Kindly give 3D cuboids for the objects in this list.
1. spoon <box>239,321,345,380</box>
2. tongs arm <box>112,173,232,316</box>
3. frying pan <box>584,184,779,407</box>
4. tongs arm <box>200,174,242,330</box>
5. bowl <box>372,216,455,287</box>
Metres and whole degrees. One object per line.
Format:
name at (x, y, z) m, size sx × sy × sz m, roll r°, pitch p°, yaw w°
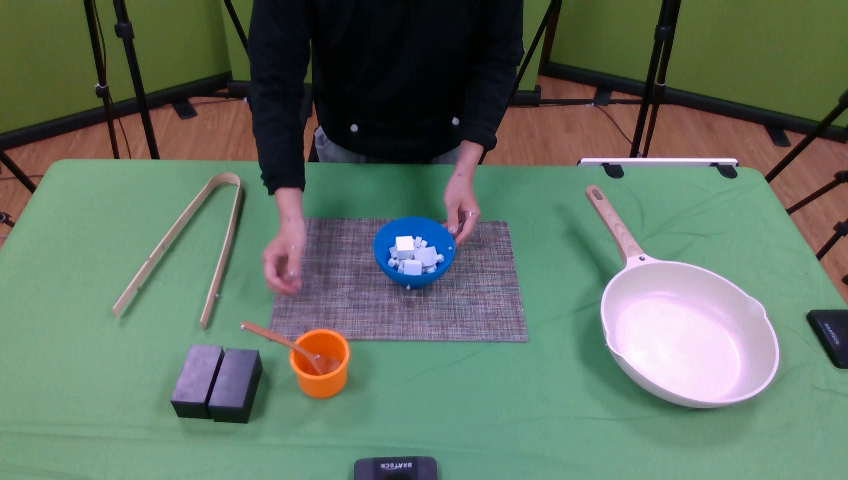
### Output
spoon at (-0.200, 0.168, 0.934) m, size 0.021 × 0.195 × 0.041 m, roll -33°, pitch 36°, yaw 25°
tongs arm at (-0.467, -0.005, 1.157) m, size 0.051 × 0.026 × 0.383 m, roll 11°, pitch 45°, yaw 4°
frying pan at (0.412, 0.079, 1.096) m, size 0.307 × 0.103 × 0.484 m, roll -10°, pitch 56°, yaw -15°
tongs arm at (-0.386, 0.008, 1.158) m, size 0.028 × 0.028 × 0.385 m, roll -1°, pitch 46°, yaw -3°
bowl at (-0.022, 0.034, 1.119) m, size 0.151 × 0.077 × 0.150 m, roll 2°, pitch 46°, yaw -2°
